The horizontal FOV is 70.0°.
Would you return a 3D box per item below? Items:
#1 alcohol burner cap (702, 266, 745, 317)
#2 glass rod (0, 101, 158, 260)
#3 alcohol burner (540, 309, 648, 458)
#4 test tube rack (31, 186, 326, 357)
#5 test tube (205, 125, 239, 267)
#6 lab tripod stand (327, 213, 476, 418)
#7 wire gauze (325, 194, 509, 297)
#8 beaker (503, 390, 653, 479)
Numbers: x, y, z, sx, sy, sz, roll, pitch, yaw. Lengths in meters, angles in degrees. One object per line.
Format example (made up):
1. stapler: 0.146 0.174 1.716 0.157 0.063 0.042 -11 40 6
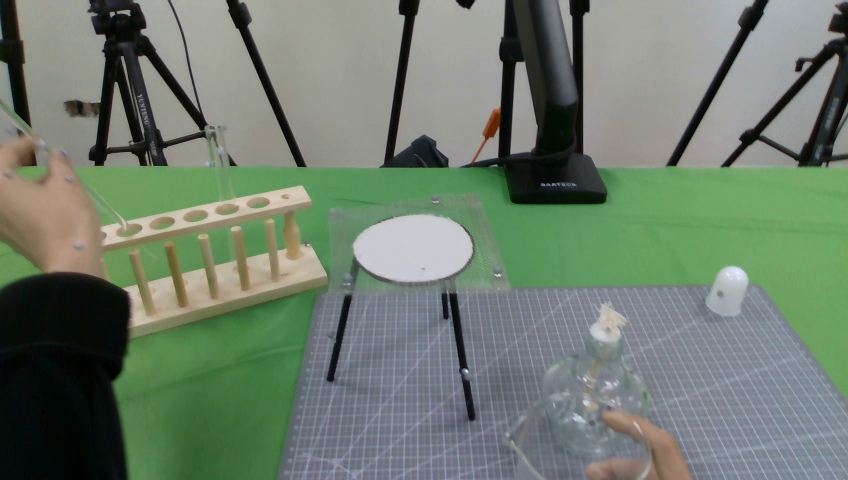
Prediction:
1. alcohol burner cap: 0.288 0.046 0.579 0.034 0.048 0.033 0 34 0
2. glass rod: -0.283 -0.043 0.501 0.008 0.202 0.008 -10 49 12
3. alcohol burner: 0.125 0.099 0.438 0.078 0.120 0.077 0 33 1
4. test tube rack: -0.223 0.024 0.579 0.243 0.086 0.066 -15 37 -20
5. test tube: -0.190 -0.037 0.581 0.017 0.151 0.017 1 32 0
6. lab tripod stand: -0.010 0.057 0.482 0.148 0.132 0.147 -1 36 1
7. wire gauze: -0.011 0.002 0.444 0.125 0.011 0.120 -5 34 -5
8. beaker: 0.088 0.154 0.370 0.084 0.101 0.073 4 34 7
